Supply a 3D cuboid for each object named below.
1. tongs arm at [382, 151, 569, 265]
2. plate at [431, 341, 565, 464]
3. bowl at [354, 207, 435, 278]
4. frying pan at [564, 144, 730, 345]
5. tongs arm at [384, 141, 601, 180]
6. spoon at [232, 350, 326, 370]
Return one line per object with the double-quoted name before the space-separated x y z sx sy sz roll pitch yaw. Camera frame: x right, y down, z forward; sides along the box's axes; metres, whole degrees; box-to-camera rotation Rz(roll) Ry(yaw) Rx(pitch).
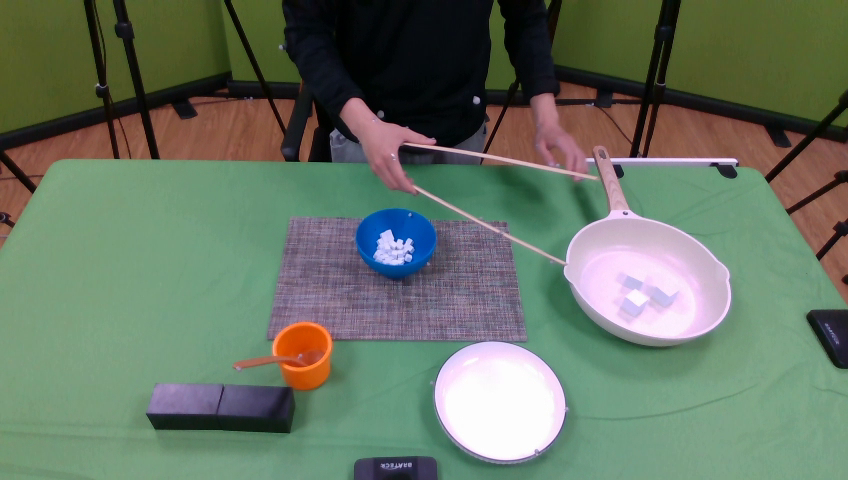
"tongs arm" 0.079 -0.061 1.029 0.383 0.051 0.026 27 15 25
"plate" 0.114 0.255 0.951 0.208 0.039 0.206 3 46 -2
"bowl" -0.056 0.018 1.132 0.151 0.077 0.150 2 46 -2
"frying pan" 0.396 -0.008 1.179 0.307 0.103 0.484 0 55 -5
"tongs arm" 0.102 -0.133 1.016 0.386 0.028 0.028 14 12 27
"spoon" -0.216 0.182 0.919 0.041 0.194 0.021 43 102 27
